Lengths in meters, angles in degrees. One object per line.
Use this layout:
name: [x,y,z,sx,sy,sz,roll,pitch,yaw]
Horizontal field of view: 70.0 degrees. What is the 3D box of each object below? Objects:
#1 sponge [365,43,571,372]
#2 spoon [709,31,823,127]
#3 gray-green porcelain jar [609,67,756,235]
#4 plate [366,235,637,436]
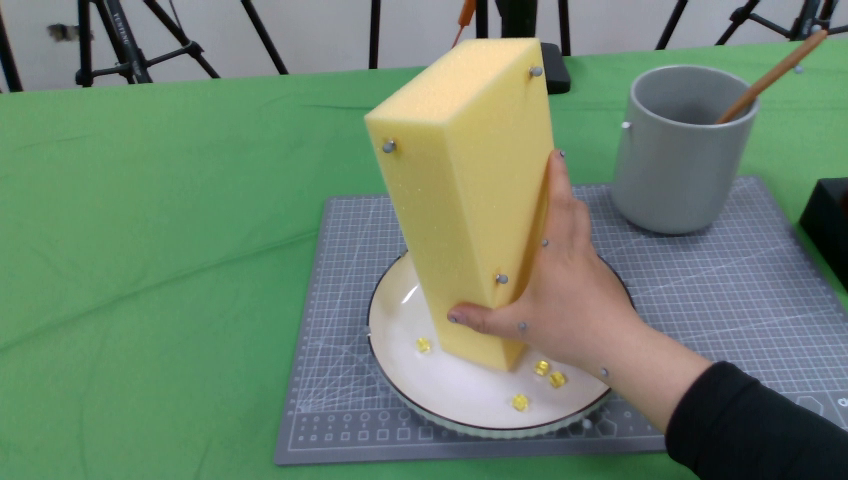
sponge: [0.044,-0.020,0.436,0.060,0.209,0.118,12,46,35]
spoon: [0.256,-0.098,0.521,0.022,0.194,0.041,28,41,-5]
gray-green porcelain jar: [0.229,-0.076,0.555,0.106,0.128,0.105,-3,43,3]
plate: [0.059,0.066,0.484,0.207,0.039,0.205,-2,43,3]
